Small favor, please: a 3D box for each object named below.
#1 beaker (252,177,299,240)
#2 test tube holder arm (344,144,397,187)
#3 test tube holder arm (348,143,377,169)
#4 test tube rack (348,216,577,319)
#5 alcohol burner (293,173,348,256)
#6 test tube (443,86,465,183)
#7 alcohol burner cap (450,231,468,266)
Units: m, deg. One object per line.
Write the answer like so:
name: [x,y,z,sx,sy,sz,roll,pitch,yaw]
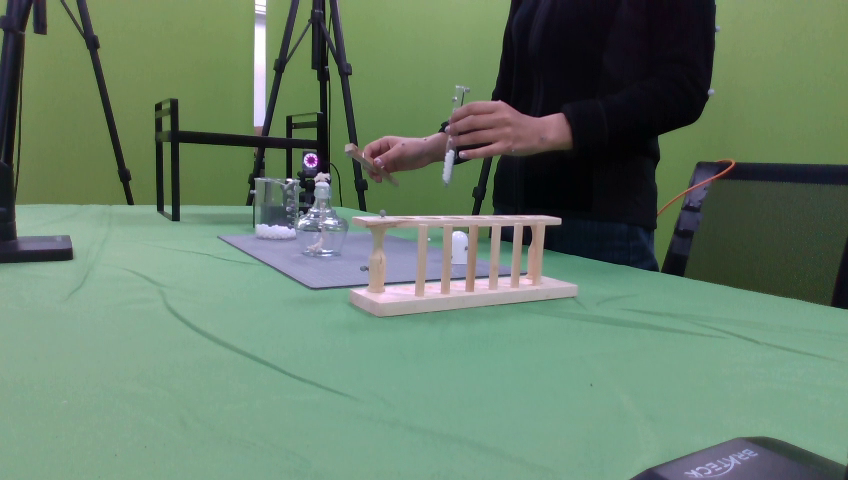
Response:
beaker: [-0.245,-0.052,1.005,0.074,0.100,0.083,-2,10,-32]
test tube holder arm: [-0.096,-0.137,1.125,0.013,0.015,0.179,-1,-16,25]
test tube holder arm: [-0.110,-0.149,1.083,0.010,0.015,0.088,-1,-16,25]
test tube rack: [0.048,0.021,0.619,0.244,0.085,0.066,-2,9,-31]
alcohol burner: [-0.146,-0.036,0.859,0.078,0.119,0.078,4,8,0]
test tube: [0.045,-0.160,0.926,0.017,0.150,0.017,6,19,-2]
alcohol burner cap: [0.046,0.012,0.839,0.034,0.048,0.034,3,6,0]
